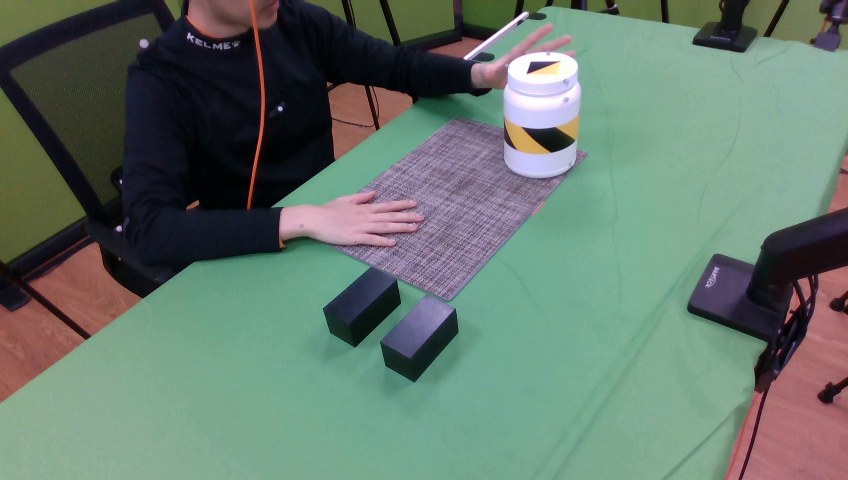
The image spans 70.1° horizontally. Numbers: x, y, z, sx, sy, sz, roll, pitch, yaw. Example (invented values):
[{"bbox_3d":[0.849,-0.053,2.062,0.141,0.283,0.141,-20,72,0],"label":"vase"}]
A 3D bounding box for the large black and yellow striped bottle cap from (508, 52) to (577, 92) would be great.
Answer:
[{"bbox_3d":[0.197,-0.281,1.008,0.115,0.019,0.114,-4,42,4],"label":"large black and yellow striped bottle cap"}]

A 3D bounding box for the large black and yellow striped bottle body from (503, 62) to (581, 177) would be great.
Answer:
[{"bbox_3d":[0.206,-0.218,1.061,0.131,0.185,0.130,-4,40,4],"label":"large black and yellow striped bottle body"}]
